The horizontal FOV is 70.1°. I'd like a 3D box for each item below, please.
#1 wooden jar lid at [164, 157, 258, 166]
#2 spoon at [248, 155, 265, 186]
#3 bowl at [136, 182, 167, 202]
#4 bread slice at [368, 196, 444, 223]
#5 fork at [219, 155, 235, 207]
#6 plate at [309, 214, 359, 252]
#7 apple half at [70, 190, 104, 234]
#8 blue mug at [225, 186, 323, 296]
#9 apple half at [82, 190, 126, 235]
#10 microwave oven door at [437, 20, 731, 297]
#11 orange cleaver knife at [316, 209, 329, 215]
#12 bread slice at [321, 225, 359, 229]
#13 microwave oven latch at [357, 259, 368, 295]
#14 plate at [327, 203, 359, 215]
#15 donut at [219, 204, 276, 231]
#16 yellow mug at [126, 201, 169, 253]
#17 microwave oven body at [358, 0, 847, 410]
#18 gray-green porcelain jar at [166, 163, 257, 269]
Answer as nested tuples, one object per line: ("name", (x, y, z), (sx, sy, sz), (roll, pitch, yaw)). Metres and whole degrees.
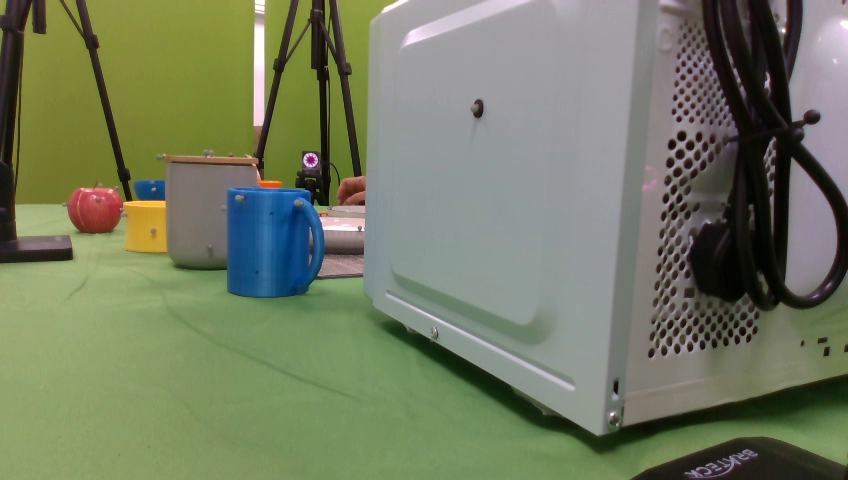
("wooden jar lid", (-0.261, -0.093, 0.746), (0.108, 0.020, 0.108), (0, 9, 0))
("spoon", (-0.417, -0.150, 1.543), (0.042, 0.193, 0.021), (-6, -34, -32))
("bowl", (-0.497, -0.076, 1.221), (0.151, 0.077, 0.151), (2, 8, 0))
("bread slice", (-0.040, -0.057, 1.142), (0.107, 0.018, 0.133), (-8, -8, -39))
("fork", (-0.459, -0.134, 1.415), (0.028, 0.018, 0.207), (0, -34, -24))
("plate", (-0.130, -0.012, 0.945), (0.208, 0.039, 0.207), (2, 8, 0))
("apple half", (-0.552, -0.047, 1.010), (0.053, 0.074, 0.081), (0, 10, 26))
("blue mug", (-0.148, 0.000, 0.618), (0.116, 0.106, 0.083), (7, 9, 33))
("apple half", (-0.516, -0.046, 0.994), (0.032, 0.081, 0.081), (0, 6, 26))
("microwave oven door", (0.181, -0.076, 0.618), (0.358, 0.243, 0.039), (-2, 9, -28))
("orange cleaver knife", (-0.259, -0.064, 1.423), (0.212, 0.012, 0.077), (-4, 3, -30))
("bread slice", (-0.124, -0.009, 0.939), (0.131, 0.019, 0.105), (5, 9, 33))
("microwave oven latch", (-0.019, 0.031, 0.529), (0.079, 0.029, 0.030), (-1, 7, -26))
("plate", (-0.102, -0.053, 1.299), (0.209, 0.038, 0.209), (2, 7, 0))
("donut", (-0.316, -0.039, 1.083), (0.099, 0.048, 0.099), (3, 7, 0))
("yellow mug", (-0.361, -0.019, 0.866), (0.130, 0.064, 0.100), (6, 9, 27))
("microwave oven body", (0.210, -0.051, 0.471), (0.444, 0.260, 0.324), (-1, 7, -28))
("gray-green porcelain jar", (-0.263, -0.031, 0.754), (0.106, 0.126, 0.106), (2, 7, 0))
